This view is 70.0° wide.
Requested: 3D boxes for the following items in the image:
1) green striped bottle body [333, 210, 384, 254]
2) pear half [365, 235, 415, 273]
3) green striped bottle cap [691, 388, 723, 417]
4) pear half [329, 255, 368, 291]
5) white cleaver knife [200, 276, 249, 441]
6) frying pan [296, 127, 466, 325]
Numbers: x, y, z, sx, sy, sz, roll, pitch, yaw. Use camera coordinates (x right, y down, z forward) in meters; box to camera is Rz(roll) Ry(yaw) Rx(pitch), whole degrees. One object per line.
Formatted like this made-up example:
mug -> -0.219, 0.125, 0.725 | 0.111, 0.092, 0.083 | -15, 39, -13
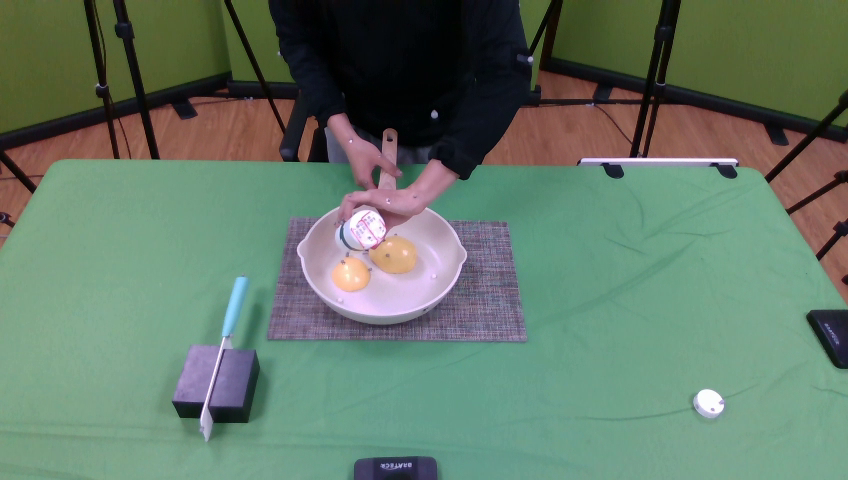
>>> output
green striped bottle body -> -0.117, -0.010, 1.041 | 0.063, 0.119, 0.063 | 4, 80, -23
pear half -> -0.074, 0.017, 1.146 | 0.110, 0.056, 0.076 | 10, 42, 7
green striped bottle cap -> 0.460, 0.263, 0.984 | 0.044, 0.020, 0.044 | 3, 46, -3
pear half -> -0.139, 0.053, 1.121 | 0.070, 0.031, 0.087 | -7, 52, -17
white cleaver knife -> -0.321, 0.177, 0.972 | 0.021, 0.066, 0.284 | 7, 48, -5
frying pan -> -0.076, -0.045, 1.172 | 0.307, 0.103, 0.485 | 3, 55, -2
